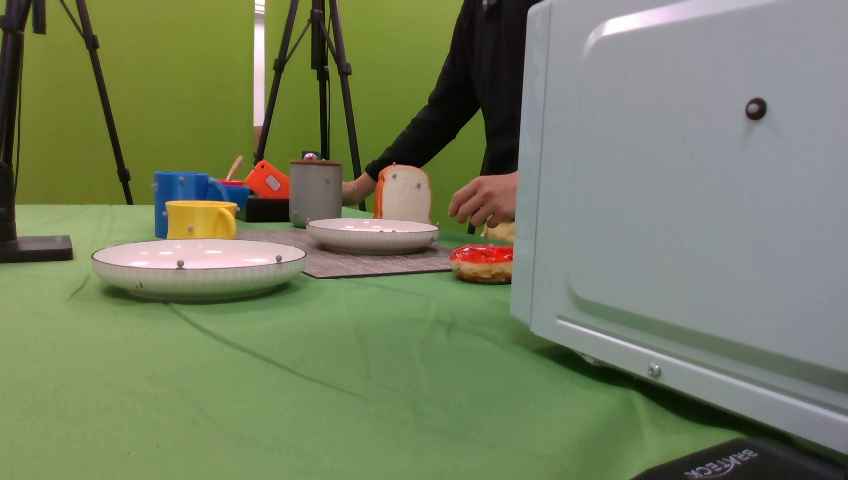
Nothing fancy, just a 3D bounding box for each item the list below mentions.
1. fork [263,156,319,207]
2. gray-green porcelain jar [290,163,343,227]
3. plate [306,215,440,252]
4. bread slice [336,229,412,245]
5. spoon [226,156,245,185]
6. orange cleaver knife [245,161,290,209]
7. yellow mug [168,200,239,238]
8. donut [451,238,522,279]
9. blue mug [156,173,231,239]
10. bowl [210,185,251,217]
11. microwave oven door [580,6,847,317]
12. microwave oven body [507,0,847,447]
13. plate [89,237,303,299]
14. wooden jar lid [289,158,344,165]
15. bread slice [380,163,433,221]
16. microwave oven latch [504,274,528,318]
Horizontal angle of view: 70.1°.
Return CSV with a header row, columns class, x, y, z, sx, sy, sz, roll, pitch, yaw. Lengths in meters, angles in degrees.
class,x,y,z,sx,sy,sz,roll,pitch,yaw
fork,-0.331,-0.144,1.505,0.207,0.018,0.028,-42,-21,22
gray-green porcelain jar,-0.217,-0.091,1.221,0.106,0.126,0.106,2,7,0
plate,-0.079,-0.011,0.950,0.209,0.038,0.209,2,8,0
bread slice,-0.074,-0.006,0.938,0.105,0.019,0.131,-2,5,-18
spoon,-0.477,-0.145,1.492,0.041,0.022,0.193,-1,51,13
orange cleaver knife,-0.293,-0.108,1.353,0.212,0.077,0.012,24,-5,-33
yellow mug,-0.320,-0.023,0.904,0.130,0.064,0.100,9,11,36
donut,0.083,0.022,0.745,0.099,0.048,0.099,1,5,0
blue mug,-0.381,-0.057,1.004,0.117,0.106,0.082,0,8,-12
bowl,-0.408,-0.064,1.155,0.151,0.077,0.151,2,8,0
microwave oven door,0.295,-0.067,0.570,0.358,0.243,0.039,-3,8,-31
microwave oven body,0.331,-0.042,0.425,0.444,0.260,0.324,-2,8,-31
plate,-0.233,0.029,0.637,0.208,0.039,0.207,2,7,0
wooden jar lid,-0.215,-0.153,1.212,0.108,0.020,0.108,2,5,0
bread slice,-0.035,-0.076,1.124,0.107,0.134,0.018,-3,1,-25
microwave oven latch,0.100,0.041,0.471,0.079,0.029,0.030,-1,8,-28
